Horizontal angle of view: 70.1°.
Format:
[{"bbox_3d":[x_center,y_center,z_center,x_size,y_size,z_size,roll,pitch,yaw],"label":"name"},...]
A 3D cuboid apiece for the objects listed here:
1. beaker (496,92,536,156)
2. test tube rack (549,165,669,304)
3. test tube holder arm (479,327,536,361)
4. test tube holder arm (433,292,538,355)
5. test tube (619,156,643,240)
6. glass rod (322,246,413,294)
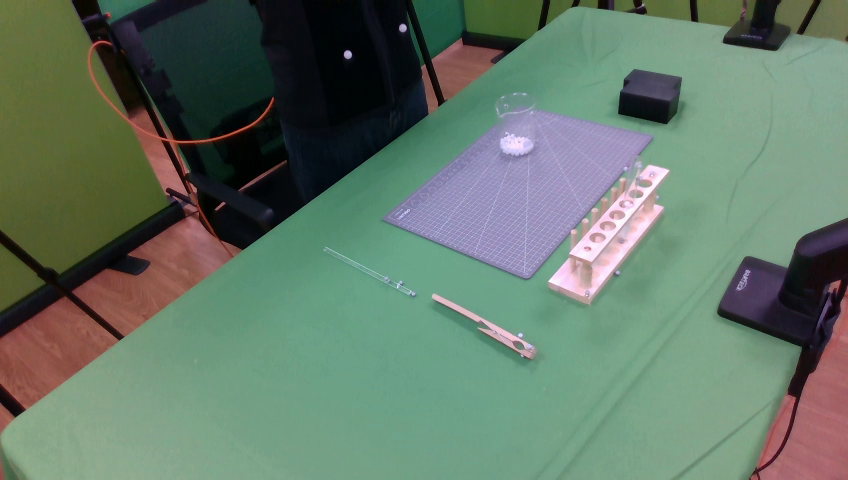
[{"bbox_3d":[0.172,-0.214,1.137,0.084,0.101,0.073,-36,46,-27],"label":"beaker"},{"bbox_3d":[0.279,-0.018,0.902,0.066,0.085,0.243,24,50,33],"label":"test tube rack"},{"bbox_3d":[0.110,0.134,0.805,0.087,0.015,0.010,29,83,36],"label":"test tube holder arm"},{"bbox_3d":[0.081,0.113,0.832,0.177,0.015,0.013,28,82,36],"label":"test tube holder arm"},{"bbox_3d":[0.296,-0.056,0.866,0.017,0.151,0.017,-4,44,4],"label":"test tube"},{"bbox_3d":[-0.093,0.045,0.956,0.198,0.008,0.008,24,51,33],"label":"glass rod"}]
